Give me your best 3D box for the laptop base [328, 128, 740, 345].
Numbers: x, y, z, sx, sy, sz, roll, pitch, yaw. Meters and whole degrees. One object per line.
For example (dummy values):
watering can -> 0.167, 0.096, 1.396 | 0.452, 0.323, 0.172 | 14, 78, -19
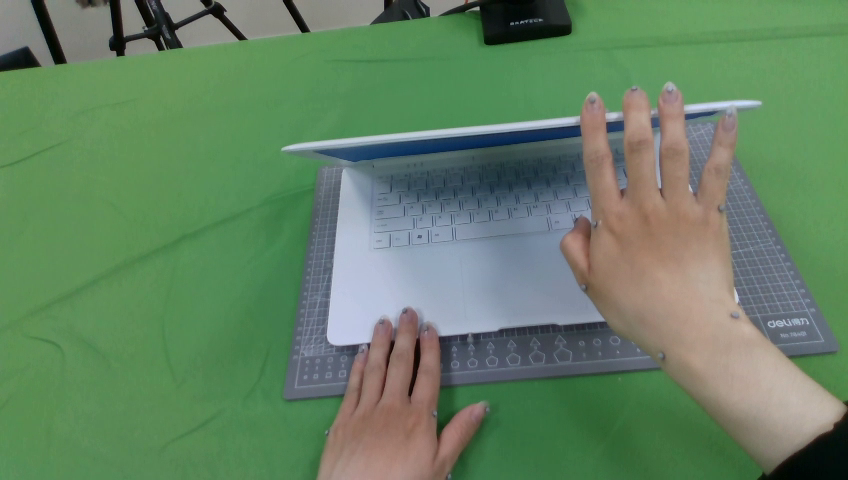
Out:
laptop base -> 0.088, -0.011, 0.592 | 0.354, 0.023, 0.233 | -6, 51, 4

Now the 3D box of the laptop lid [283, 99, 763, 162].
laptop lid -> 0.075, -0.094, 0.547 | 0.356, 0.013, 0.241 | -5, 7, 6
